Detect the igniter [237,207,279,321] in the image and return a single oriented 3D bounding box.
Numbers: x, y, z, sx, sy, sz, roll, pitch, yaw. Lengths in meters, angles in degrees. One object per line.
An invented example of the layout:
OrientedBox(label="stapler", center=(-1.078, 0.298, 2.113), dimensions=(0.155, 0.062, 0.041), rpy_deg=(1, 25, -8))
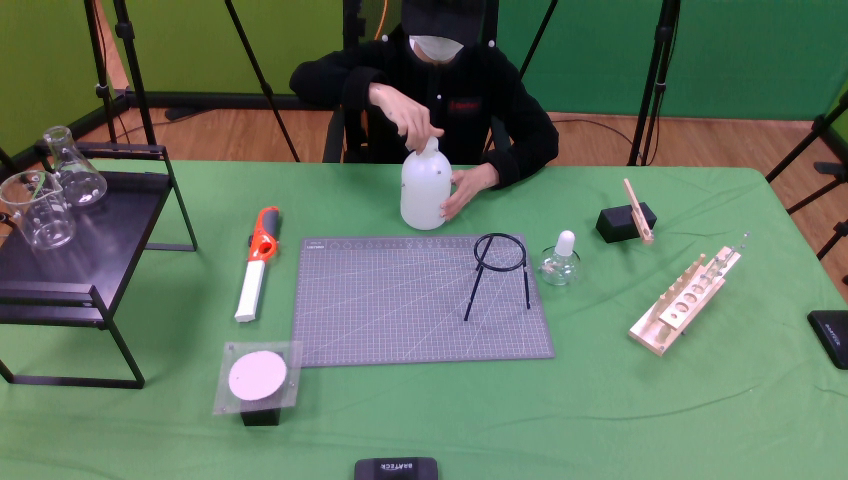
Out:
OrientedBox(label="igniter", center=(-0.309, 0.035, 1.136), dimensions=(0.057, 0.025, 0.274), rpy_deg=(-7, 45, 4))

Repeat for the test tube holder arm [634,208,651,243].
OrientedBox(label="test tube holder arm", center=(0.428, -0.030, 1.189), dimensions=(0.010, 0.015, 0.087), rpy_deg=(1, 47, -2))

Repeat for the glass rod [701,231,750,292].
OrientedBox(label="glass rod", center=(0.519, 0.045, 1.050), dimensions=(0.008, 0.201, 0.008), rpy_deg=(0, 55, 0))

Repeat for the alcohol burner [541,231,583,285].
OrientedBox(label="alcohol burner", center=(0.258, 0.028, 1.123), dimensions=(0.078, 0.120, 0.077), rpy_deg=(1, 48, -1))

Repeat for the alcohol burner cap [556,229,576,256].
OrientedBox(label="alcohol burner cap", center=(0.260, 0.002, 1.098), dimensions=(0.034, 0.048, 0.033), rpy_deg=(3, 40, -2))

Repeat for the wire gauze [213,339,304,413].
OrientedBox(label="wire gauze", center=(-0.250, 0.203, 0.925), dimensions=(0.121, 0.011, 0.124), rpy_deg=(-1, 46, -3))

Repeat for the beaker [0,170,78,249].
OrientedBox(label="beaker", center=(-0.562, -0.042, 0.894), dimensions=(0.084, 0.101, 0.073), rpy_deg=(-2, 47, -7))

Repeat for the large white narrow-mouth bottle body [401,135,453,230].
OrientedBox(label="large white narrow-mouth bottle body", center=(0.005, -0.119, 1.191), dimensions=(0.102, 0.195, 0.101), rpy_deg=(2, 46, -2))

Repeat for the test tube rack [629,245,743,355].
OrientedBox(label="test tube rack", center=(0.474, 0.095, 1.091), dimensions=(0.242, 0.085, 0.066), rpy_deg=(-34, 56, -31))

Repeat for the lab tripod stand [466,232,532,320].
OrientedBox(label="lab tripod stand", center=(0.125, 0.059, 1.065), dimensions=(0.148, 0.132, 0.147), rpy_deg=(1, 45, 0))

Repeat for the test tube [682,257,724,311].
OrientedBox(label="test tube", center=(0.475, 0.080, 1.037), dimensions=(0.017, 0.151, 0.017), rpy_deg=(2, 51, -2))

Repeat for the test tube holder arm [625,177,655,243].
OrientedBox(label="test tube holder arm", center=(0.433, -0.062, 1.220), dimensions=(0.013, 0.015, 0.177), rpy_deg=(1, 47, -3))

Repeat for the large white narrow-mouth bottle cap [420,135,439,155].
OrientedBox(label="large white narrow-mouth bottle cap", center=(0.011, -0.177, 1.128), dimensions=(0.038, 0.024, 0.037), rpy_deg=(2, 46, -2))

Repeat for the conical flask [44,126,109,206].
OrientedBox(label="conical flask", center=(-0.554, -0.119, 0.953), dimensions=(0.075, 0.122, 0.075), rpy_deg=(2, 46, -2))
